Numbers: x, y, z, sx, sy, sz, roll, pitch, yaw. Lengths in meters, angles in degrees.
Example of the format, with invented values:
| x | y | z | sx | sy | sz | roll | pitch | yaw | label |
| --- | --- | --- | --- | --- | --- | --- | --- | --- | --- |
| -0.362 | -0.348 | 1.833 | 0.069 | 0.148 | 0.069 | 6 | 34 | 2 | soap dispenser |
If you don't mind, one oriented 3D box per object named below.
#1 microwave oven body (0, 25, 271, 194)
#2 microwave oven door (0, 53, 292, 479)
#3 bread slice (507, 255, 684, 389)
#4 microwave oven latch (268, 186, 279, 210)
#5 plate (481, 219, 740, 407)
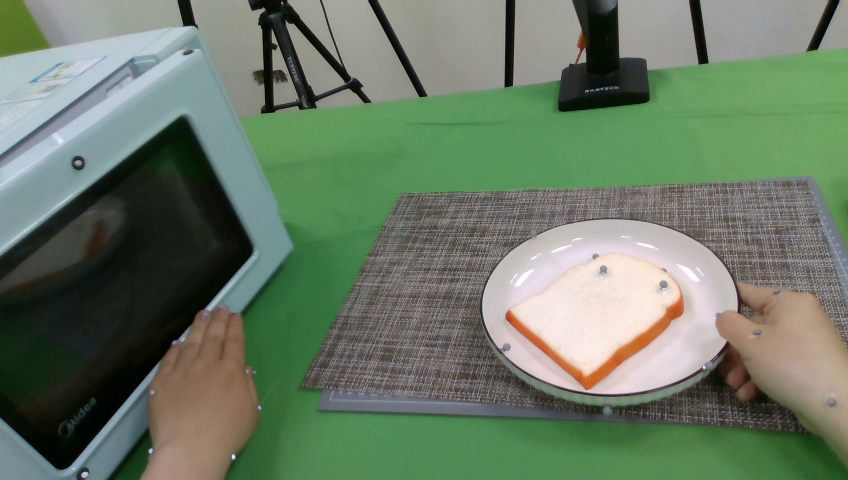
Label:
| x | y | z | sx | sy | sz | roll | pitch | yaw | label |
| --- | --- | --- | --- | --- | --- | --- | --- | --- | --- |
| -0.409 | 0.011 | 0.603 | 0.325 | 0.263 | 0.438 | -2 | 40 | 18 | microwave oven body |
| -0.257 | 0.029 | 0.515 | 0.039 | 0.246 | 0.354 | 4 | 41 | 25 | microwave oven door |
| 0.151 | 0.059 | 0.521 | 0.131 | 0.019 | 0.103 | -30 | 39 | -18 | bread slice |
| -0.207 | -0.032 | 0.746 | 0.030 | 0.030 | 0.078 | -1 | 40 | 19 | microwave oven latch |
| 0.153 | 0.059 | 0.518 | 0.209 | 0.038 | 0.207 | -11 | 37 | 9 | plate |
